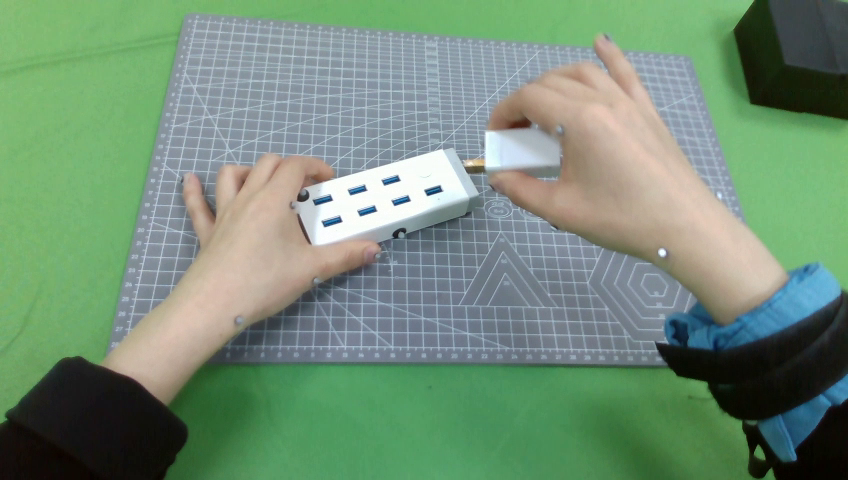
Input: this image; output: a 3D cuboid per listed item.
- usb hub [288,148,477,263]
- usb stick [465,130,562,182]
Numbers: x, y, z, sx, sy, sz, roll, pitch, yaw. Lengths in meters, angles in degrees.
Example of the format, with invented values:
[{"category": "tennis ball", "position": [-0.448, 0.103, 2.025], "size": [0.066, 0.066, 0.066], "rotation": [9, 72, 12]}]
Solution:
[{"category": "usb hub", "position": [-0.029, -0.027, 0.428], "size": [0.125, 0.025, 0.049], "rotation": [-18, 64, -18]}, {"category": "usb stick", "position": [0.054, -0.050, 0.368], "size": [0.059, 0.021, 0.027], "rotation": [-4, 73, 12]}]
